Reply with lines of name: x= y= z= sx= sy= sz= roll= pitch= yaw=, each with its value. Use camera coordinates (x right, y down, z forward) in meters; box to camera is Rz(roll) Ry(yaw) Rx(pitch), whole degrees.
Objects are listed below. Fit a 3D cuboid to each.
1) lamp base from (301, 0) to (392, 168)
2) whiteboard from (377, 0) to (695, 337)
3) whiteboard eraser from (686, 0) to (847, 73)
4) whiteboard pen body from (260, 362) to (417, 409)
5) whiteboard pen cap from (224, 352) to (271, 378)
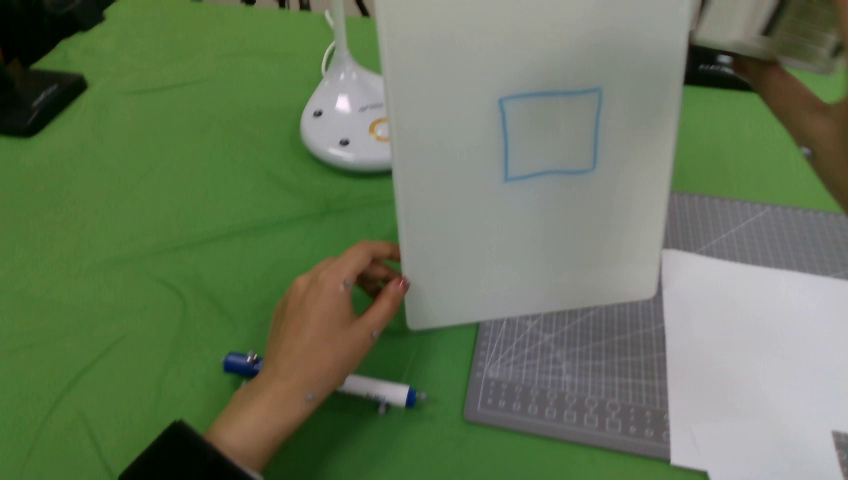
lamp base: x=-0.066 y=-0.194 z=0.636 sx=0.161 sy=0.182 sz=0.177 roll=-28 pitch=50 yaw=-24
whiteboard: x=0.075 y=-0.099 z=0.499 sx=0.217 sy=0.308 sz=0.142 roll=-7 pitch=27 yaw=-5
whiteboard eraser: x=0.182 y=-0.121 z=0.313 sx=0.113 sy=0.056 sz=0.041 roll=-4 pitch=35 yaw=-33
whiteboard pen body: x=-0.075 y=0.107 z=0.453 sx=0.140 sy=0.017 sz=0.017 roll=9 pitch=47 yaw=6
whiteboard pen cap: x=-0.133 y=0.095 z=0.460 sx=0.033 sy=0.018 sz=0.018 roll=9 pitch=47 yaw=5
